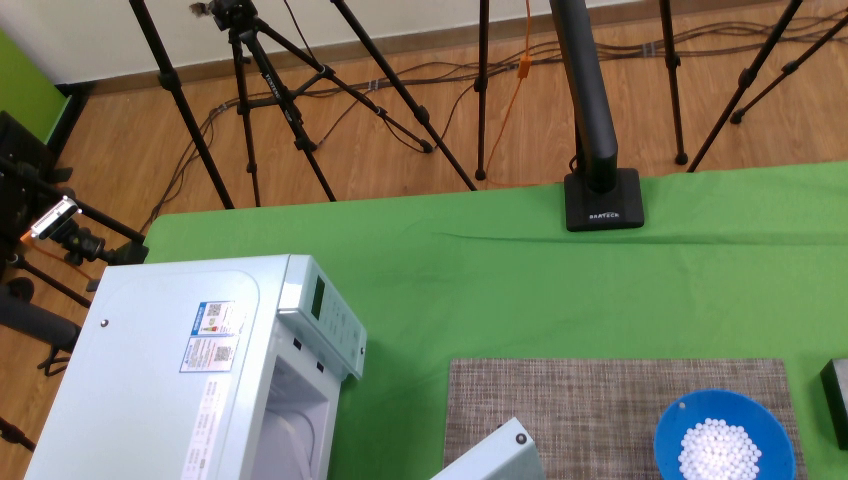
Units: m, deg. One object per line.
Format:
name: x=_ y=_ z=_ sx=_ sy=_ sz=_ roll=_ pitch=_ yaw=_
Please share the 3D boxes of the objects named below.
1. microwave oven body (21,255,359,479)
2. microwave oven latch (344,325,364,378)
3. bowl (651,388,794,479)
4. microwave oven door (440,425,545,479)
microwave oven body: x=-0.287 y=0.275 z=0.779 sx=0.325 sy=0.263 sz=0.437 roll=-4 pitch=57 yaw=12
microwave oven latch: x=-0.110 y=0.168 z=0.919 sx=0.030 sy=0.030 sz=0.078 roll=-3 pitch=58 yaw=13
bowl: x=0.347 y=0.262 z=0.722 sx=0.151 sy=0.077 sz=0.150 roll=-7 pitch=56 yaw=11
microwave oven door: x=-0.022 y=0.345 z=0.654 sx=0.356 sy=0.246 sz=0.039 roll=-34 pitch=55 yaw=-8
